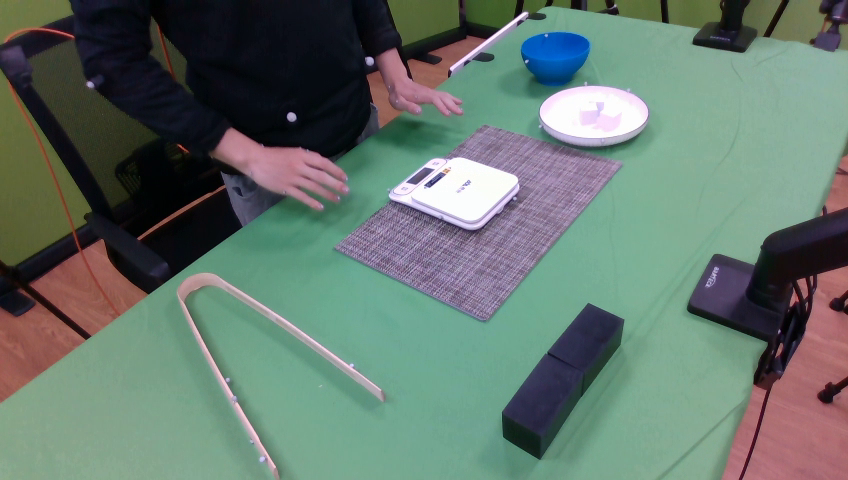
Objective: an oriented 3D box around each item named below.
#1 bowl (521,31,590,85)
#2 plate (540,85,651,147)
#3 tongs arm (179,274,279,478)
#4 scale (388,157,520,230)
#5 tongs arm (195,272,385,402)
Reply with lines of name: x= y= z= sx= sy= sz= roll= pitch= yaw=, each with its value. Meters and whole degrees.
bowl: x=0.289 y=-0.395 z=1.341 sx=0.151 sy=0.077 sz=0.150 roll=-4 pitch=40 yaw=4
plate: x=0.333 y=-0.238 z=1.186 sx=0.207 sy=0.039 sz=0.206 roll=-4 pitch=41 yaw=4
tongs arm: x=-0.260 y=0.161 z=0.807 sx=0.051 sy=0.026 sz=0.381 roll=-29 pitch=44 yaw=-25
scale: x=0.050 y=-0.090 z=1.051 sx=0.199 sy=0.032 sz=0.149 roll=24 pitch=49 yaw=31
tongs arm: x=-0.198 y=0.125 z=0.847 sx=0.384 sy=0.028 sz=0.028 roll=25 pitch=53 yaw=32
